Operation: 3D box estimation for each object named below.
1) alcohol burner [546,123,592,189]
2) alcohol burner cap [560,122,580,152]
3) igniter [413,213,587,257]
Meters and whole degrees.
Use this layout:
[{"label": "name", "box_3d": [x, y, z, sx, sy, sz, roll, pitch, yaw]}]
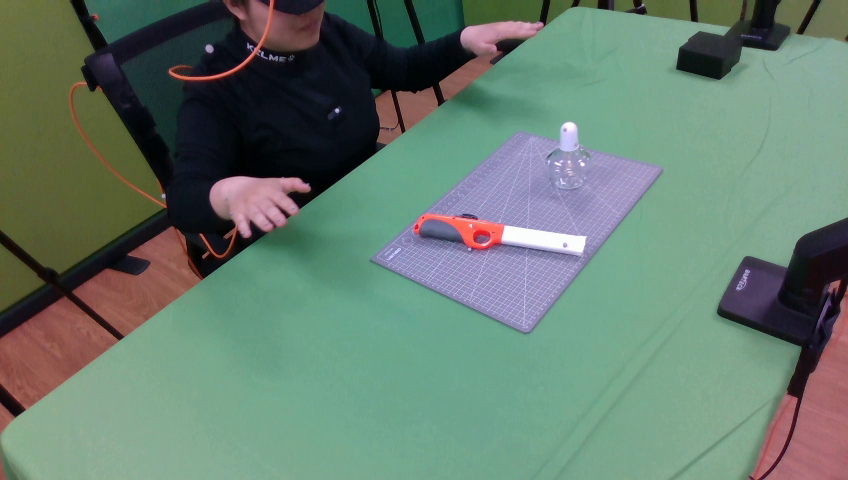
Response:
[{"label": "alcohol burner", "box_3d": [0.248, -0.147, 1.034, 0.078, 0.120, 0.077, -7, 41, 6]}, {"label": "alcohol burner cap", "box_3d": [0.244, -0.174, 1.010, 0.034, 0.048, 0.033, -8, 40, 7]}, {"label": "igniter", "box_3d": [0.116, -0.009, 0.959, 0.275, 0.025, 0.057, 8, 65, 17]}]
